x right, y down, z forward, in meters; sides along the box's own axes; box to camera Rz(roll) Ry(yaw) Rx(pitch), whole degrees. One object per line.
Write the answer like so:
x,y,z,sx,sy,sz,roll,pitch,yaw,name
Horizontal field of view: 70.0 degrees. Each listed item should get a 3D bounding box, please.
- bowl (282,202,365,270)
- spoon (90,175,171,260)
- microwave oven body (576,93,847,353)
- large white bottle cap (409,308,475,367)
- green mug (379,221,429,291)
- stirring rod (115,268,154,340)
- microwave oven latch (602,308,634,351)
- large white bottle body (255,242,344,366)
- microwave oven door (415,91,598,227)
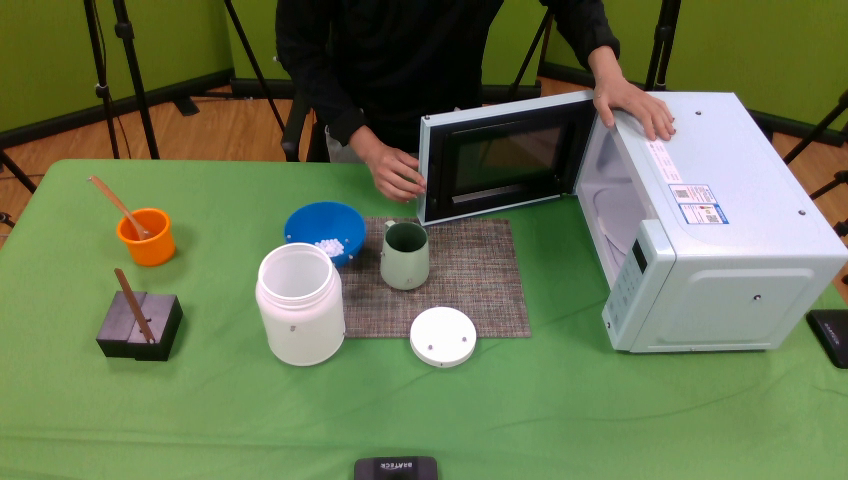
-0.186,0.006,1.136,0.151,0.077,0.150,3,46,-3,bowl
-0.539,-0.042,1.111,0.041,0.194,0.021,-46,19,-32,spoon
0.475,-0.041,1.110,0.326,0.261,0.438,-1,45,-4,microwave oven body
0.031,0.166,1.041,0.115,0.018,0.114,2,47,-2,large white bottle cap
-0.044,0.020,1.116,0.092,0.105,0.124,-20,50,-22,green mug
-0.479,0.103,0.999,0.014,0.006,0.175,8,32,-49,stirring rod
0.332,0.153,1.044,0.030,0.029,0.078,-1,45,-4,microwave oven latch
-0.196,0.102,0.967,0.131,0.185,0.130,2,49,-2,large white bottle body
0.159,-0.159,1.193,0.356,0.245,0.039,-13,48,-16,microwave oven door
